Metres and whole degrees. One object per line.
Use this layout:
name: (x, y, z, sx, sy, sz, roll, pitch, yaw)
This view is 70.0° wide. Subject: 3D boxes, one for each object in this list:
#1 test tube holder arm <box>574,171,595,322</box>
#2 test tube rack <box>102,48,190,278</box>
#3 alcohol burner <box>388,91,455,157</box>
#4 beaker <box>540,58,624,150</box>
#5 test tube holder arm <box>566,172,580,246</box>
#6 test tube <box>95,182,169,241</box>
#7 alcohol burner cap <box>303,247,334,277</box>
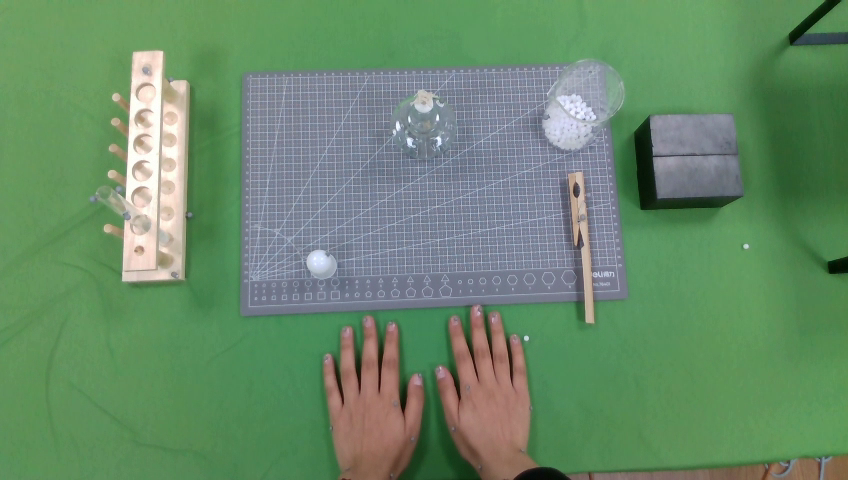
test tube holder arm: (0.187, 0.007, 0.711, 0.013, 0.015, 0.177, -9, 80, 27)
test tube rack: (-0.314, -0.083, 0.679, 0.067, 0.085, 0.241, -2, 80, -2)
alcohol burner: (-0.003, -0.138, 0.683, 0.078, 0.119, 0.077, 0, 80, 0)
beaker: (0.174, -0.152, 0.699, 0.084, 0.100, 0.073, -4, 79, -1)
test tube holder arm: (0.179, -0.037, 0.720, 0.010, 0.015, 0.087, -8, 81, 28)
test tube: (-0.294, -0.025, 0.619, 0.017, 0.151, 0.017, 1, 74, -2)
alcohol burner cap: (-0.121, 0.023, 0.686, 0.034, 0.048, 0.033, 1, 79, -3)
